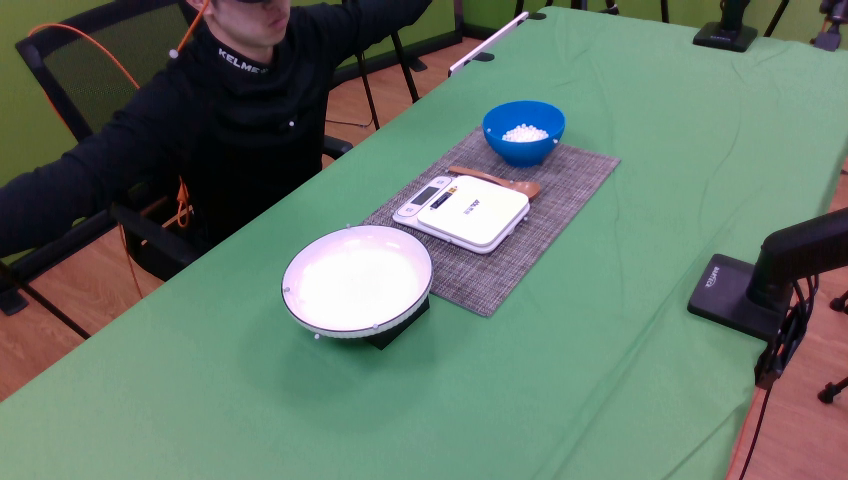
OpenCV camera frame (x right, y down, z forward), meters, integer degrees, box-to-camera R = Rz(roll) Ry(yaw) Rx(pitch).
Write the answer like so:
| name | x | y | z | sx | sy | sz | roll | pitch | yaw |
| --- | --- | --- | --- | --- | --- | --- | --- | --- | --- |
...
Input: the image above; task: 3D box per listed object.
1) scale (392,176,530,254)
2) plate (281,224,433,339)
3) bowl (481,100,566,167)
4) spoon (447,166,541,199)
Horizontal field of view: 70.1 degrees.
| name | x | y | z | sx | sy | sz | roll | pitch | yaw |
| --- | --- | --- | --- | --- | --- | --- | --- | --- | --- |
| scale | 0.060 | -0.050 | 1.006 | 0.199 | 0.032 | 0.149 | 22 | 48 | 30 |
| plate | -0.089 | 0.057 | 0.825 | 0.209 | 0.038 | 0.208 | -4 | 40 | 4 |
| bowl | 0.183 | -0.187 | 1.111 | 0.151 | 0.077 | 0.150 | -4 | 41 | 4 |
| spoon | 0.120 | -0.107 | 1.071 | 0.192 | 0.022 | 0.041 | 23 | 64 | 31 |
